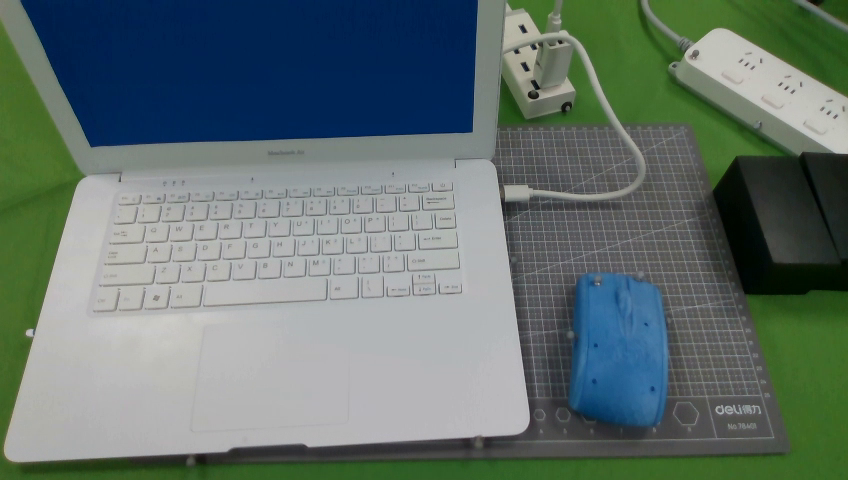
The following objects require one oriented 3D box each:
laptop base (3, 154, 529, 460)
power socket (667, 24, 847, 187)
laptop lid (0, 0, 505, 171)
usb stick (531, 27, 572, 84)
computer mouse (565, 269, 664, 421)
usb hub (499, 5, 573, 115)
[{"bbox_3d":[-0.110,0.038,0.464,0.354,0.023,0.233,-3,62,-2],"label":"laptop base"},{"bbox_3d":[0.335,-0.126,0.559,0.072,0.033,0.225,-38,66,-22],"label":"power socket"},{"bbox_3d":[-0.118,-0.147,0.439,0.357,0.244,0.013,-4,46,-1],"label":"laptop lid"},{"bbox_3d":[0.113,-0.161,0.548,0.027,0.059,0.021,-18,59,-9],"label":"usb stick"},{"bbox_3d":[0.137,0.069,0.433,0.062,0.041,0.116,10,55,8],"label":"computer mouse"},{"bbox_3d":[0.096,-0.178,0.592,0.049,0.025,0.124,-15,60,-10],"label":"usb hub"}]
